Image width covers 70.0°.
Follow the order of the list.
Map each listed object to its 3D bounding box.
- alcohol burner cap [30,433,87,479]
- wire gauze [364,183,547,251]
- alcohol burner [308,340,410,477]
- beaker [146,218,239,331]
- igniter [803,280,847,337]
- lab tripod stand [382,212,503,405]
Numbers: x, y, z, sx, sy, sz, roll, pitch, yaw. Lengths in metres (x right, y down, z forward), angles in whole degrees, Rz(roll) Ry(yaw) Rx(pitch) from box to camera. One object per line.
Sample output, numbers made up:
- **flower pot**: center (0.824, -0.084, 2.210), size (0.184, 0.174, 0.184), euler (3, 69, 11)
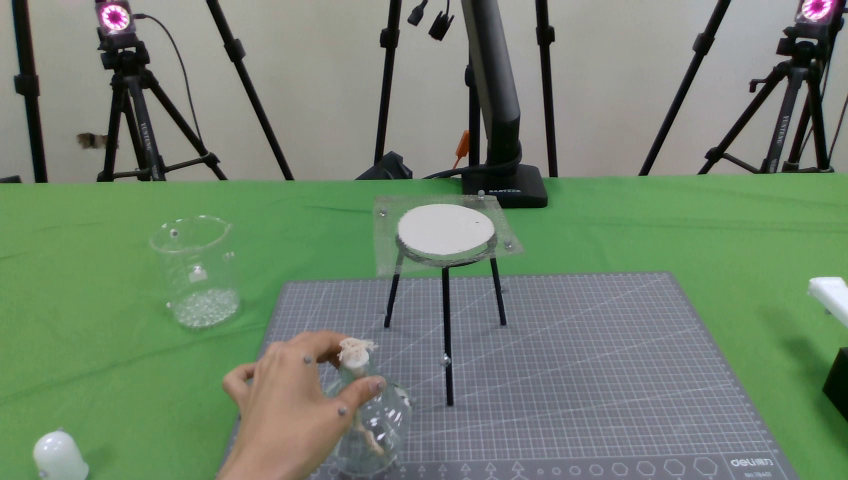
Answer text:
- **alcohol burner cap**: center (-0.285, 0.171, 0.468), size (0.034, 0.048, 0.033), euler (1, 30, 0)
- **wire gauze**: center (0.023, -0.020, 0.519), size (0.125, 0.011, 0.120), euler (-8, 27, -25)
- **alcohol burner**: center (-0.049, 0.121, 0.455), size (0.078, 0.120, 0.077), euler (1, 33, 0)
- **beaker**: center (-0.235, 0.037, 0.635), size (0.084, 0.101, 0.073), euler (-25, 39, -34)
- **igniter**: center (0.385, 0.110, 0.472), size (0.057, 0.025, 0.274), euler (-2, 28, 1)
- **lab tripod stand**: center (0.020, 0.054, 0.559), size (0.148, 0.132, 0.147), euler (1, 32, 0)
